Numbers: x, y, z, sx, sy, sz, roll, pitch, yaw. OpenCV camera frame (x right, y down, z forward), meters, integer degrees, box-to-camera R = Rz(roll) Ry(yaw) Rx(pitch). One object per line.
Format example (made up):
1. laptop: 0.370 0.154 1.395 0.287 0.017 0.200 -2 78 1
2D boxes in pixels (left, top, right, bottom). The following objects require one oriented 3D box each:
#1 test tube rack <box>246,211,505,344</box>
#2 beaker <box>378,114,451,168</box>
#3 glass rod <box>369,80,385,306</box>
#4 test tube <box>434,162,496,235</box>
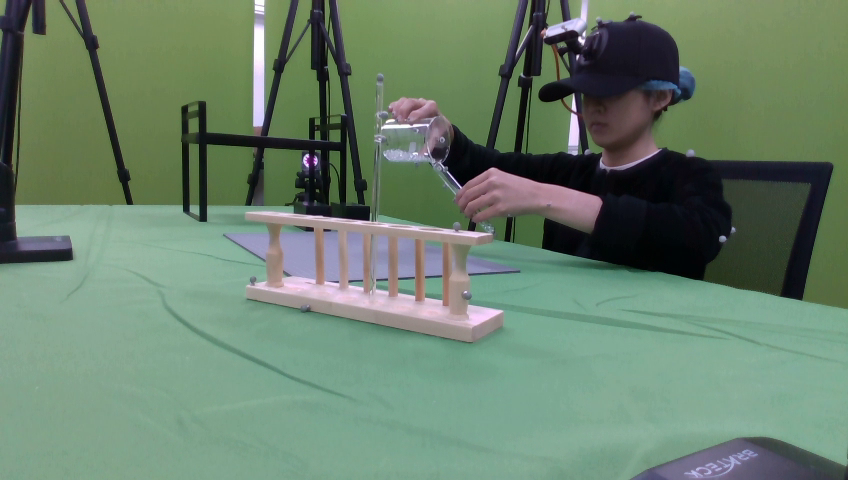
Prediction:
1. test tube rack: -0.049 0.025 0.547 0.241 0.085 0.067 7 8 29
2. beaker: -0.017 -0.160 0.984 0.100 0.084 0.074 4 4 31
3. glass rod: -0.041 -0.039 0.530 0.008 0.199 0.008 3 2 0
4. test tube: 0.062 -0.065 0.937 0.017 0.017 0.149 -7 54 -53
